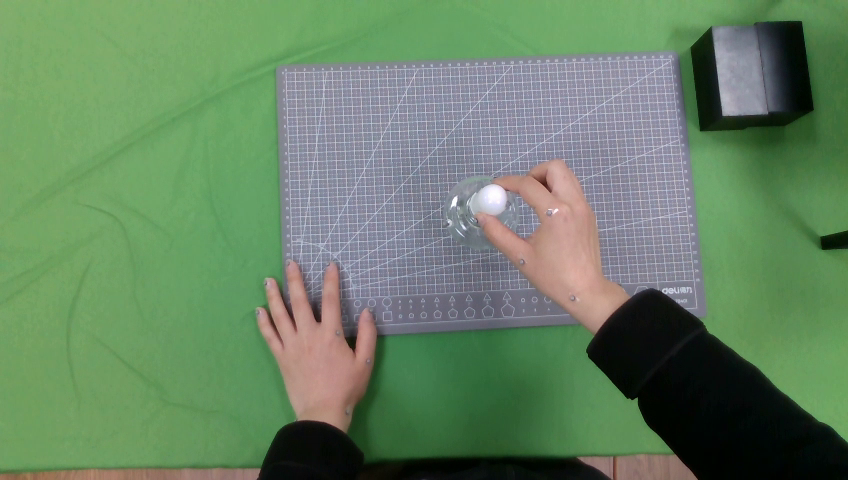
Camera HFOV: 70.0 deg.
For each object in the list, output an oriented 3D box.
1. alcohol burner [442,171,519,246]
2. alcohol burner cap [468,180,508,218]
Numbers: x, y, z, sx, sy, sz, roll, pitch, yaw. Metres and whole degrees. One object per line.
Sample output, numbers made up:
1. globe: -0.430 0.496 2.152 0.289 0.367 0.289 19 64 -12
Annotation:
1. alcohol burner: 0.057 -0.034 0.599 0.078 0.119 0.077 0 84 -1
2. alcohol burner cap: 0.060 -0.039 0.546 0.034 0.048 0.034 1 85 -6
